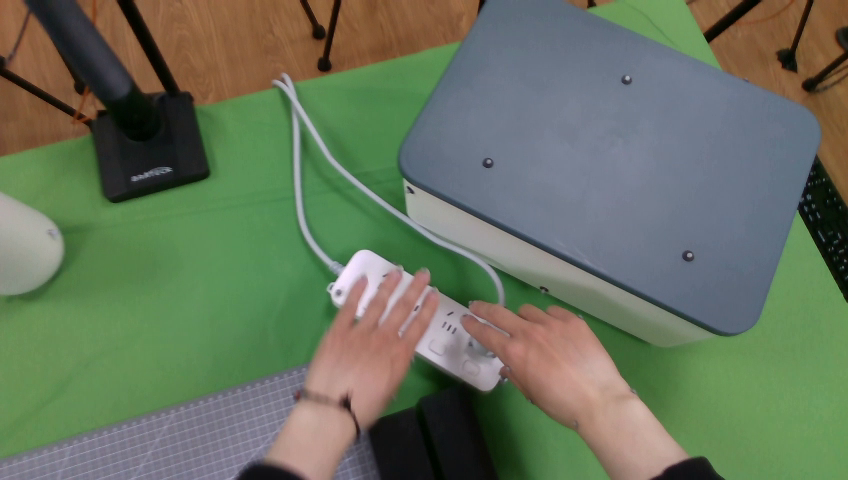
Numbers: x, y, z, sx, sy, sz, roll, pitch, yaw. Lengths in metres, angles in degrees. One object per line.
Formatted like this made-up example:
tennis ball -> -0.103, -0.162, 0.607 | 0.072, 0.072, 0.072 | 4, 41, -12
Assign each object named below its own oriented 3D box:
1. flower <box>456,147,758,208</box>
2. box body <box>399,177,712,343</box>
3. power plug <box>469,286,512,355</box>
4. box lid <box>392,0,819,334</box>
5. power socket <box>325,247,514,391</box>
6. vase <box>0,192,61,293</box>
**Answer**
flower -> 0.209, -0.088, 0.743 | 0.360, 0.038, 0.044 | 12, 62, 20
box body -> 0.178, -0.073, 0.663 | 0.363, 0.161, 0.253 | 26, 73, 5
power plug -> 0.078, 0.091, 0.648 | 0.035, 0.053, 0.072 | 41, 72, 13
box lid -> 0.182, -0.095, 0.592 | 0.371, 0.015, 0.262 | 26, 74, 5
power socket -> -0.004, 0.086, 0.670 | 0.226, 0.033, 0.072 | 30, 72, 7
vase -> -0.446, -0.015, 0.590 | 0.098, 0.201, 0.097 | 1, 70, -3
